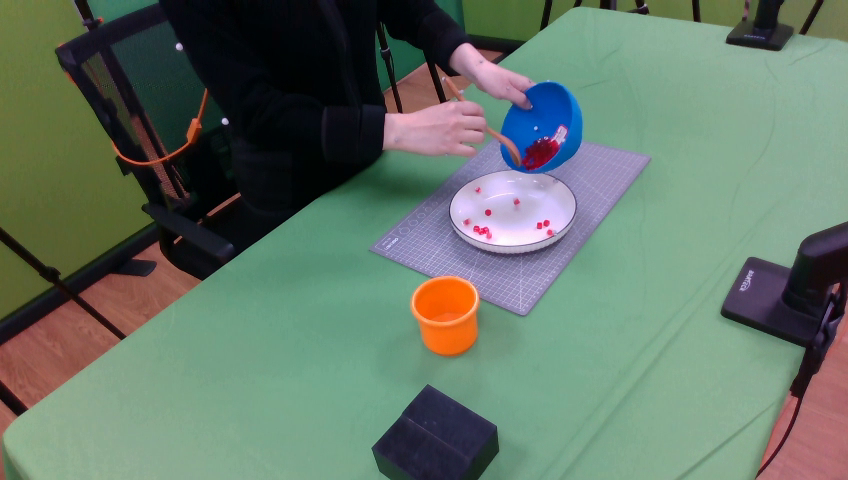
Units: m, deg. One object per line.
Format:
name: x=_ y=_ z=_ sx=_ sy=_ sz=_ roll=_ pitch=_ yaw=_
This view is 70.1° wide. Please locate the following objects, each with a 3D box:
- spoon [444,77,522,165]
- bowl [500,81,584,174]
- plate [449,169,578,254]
spoon: x=0.093 y=-0.177 z=0.914 sx=0.021 sy=0.195 sz=0.041 roll=-45 pitch=33 yaw=14
bowl: x=0.205 y=-0.172 z=0.984 sx=0.077 sy=0.151 sz=0.150 roll=15 pitch=24 yaw=-38
plate: x=0.147 y=-0.044 z=0.994 sx=0.209 sy=0.038 sz=0.208 roll=-5 pitch=40 yaw=5
